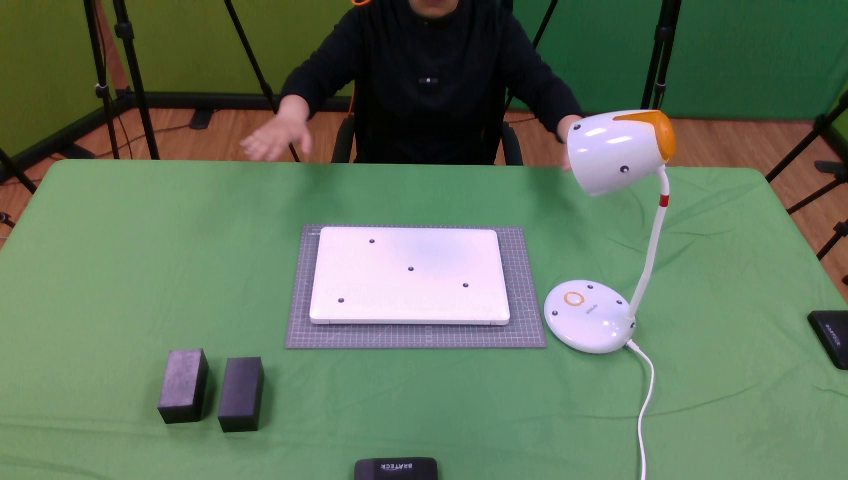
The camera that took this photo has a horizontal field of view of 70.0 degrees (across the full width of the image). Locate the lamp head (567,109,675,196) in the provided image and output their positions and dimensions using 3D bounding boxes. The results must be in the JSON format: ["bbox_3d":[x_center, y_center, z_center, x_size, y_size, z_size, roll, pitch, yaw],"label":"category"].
[{"bbox_3d":[0.272,-0.123,0.818,0.122,0.113,0.112,-9,35,37],"label":"lamp head"}]

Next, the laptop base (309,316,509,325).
[{"bbox_3d":[-0.028,0.066,1.134,0.355,0.023,0.234,1,43,-4],"label":"laptop base"}]

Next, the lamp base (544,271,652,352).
[{"bbox_3d":[0.309,0.086,1.029,0.178,0.181,0.160,32,52,21],"label":"lamp base"}]

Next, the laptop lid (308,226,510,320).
[{"bbox_3d":[-0.027,0.056,1.127,0.357,0.013,0.240,2,44,-3],"label":"laptop lid"}]
